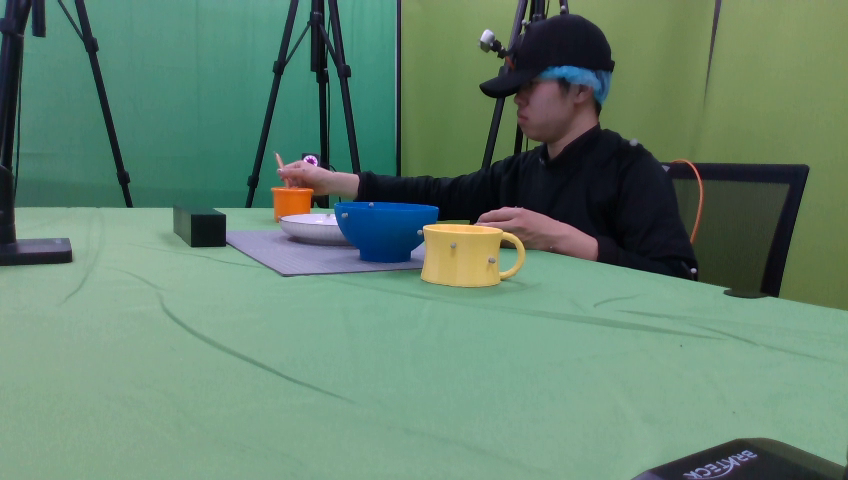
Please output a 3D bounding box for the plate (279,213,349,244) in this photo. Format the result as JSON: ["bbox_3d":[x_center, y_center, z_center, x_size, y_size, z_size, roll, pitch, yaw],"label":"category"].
[{"bbox_3d":[-0.147,-0.020,1.060,0.209,0.038,0.209,3,7,0],"label":"plate"}]

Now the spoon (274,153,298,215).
[{"bbox_3d":[-0.311,-0.122,1.362,0.021,0.193,0.042,-32,-31,24],"label":"spoon"}]

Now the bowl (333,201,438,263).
[{"bbox_3d":[-0.057,-0.011,0.866,0.151,0.077,0.151,3,8,0],"label":"bowl"}]

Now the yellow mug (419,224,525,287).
[{"bbox_3d":[0.060,0.018,0.746,0.131,0.064,0.100,3,6,-7],"label":"yellow mug"}]
